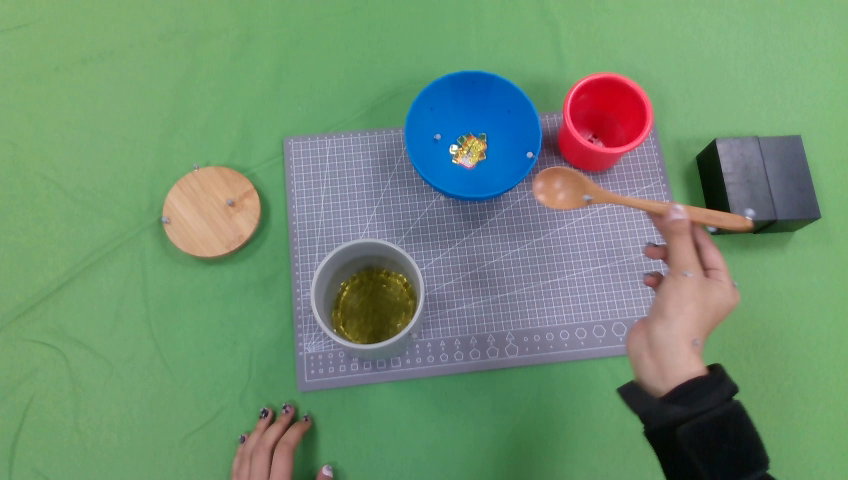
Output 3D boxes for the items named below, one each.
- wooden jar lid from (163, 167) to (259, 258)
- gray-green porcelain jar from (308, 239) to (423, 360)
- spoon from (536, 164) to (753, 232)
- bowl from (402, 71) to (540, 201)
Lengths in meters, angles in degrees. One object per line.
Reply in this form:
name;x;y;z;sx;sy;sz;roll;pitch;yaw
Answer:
wooden jar lid;-0.242;-0.031;0.695;0.108;0.021;0.108;0;74;0
gray-green porcelain jar;-0.054;0.066;0.614;0.106;0.127;0.105;0;74;-1
spoon;0.187;-0.033;0.539;0.192;0.022;0.041;19;97;38
bowl;0.051;-0.105;0.688;0.151;0.077;0.150;0;74;-1
